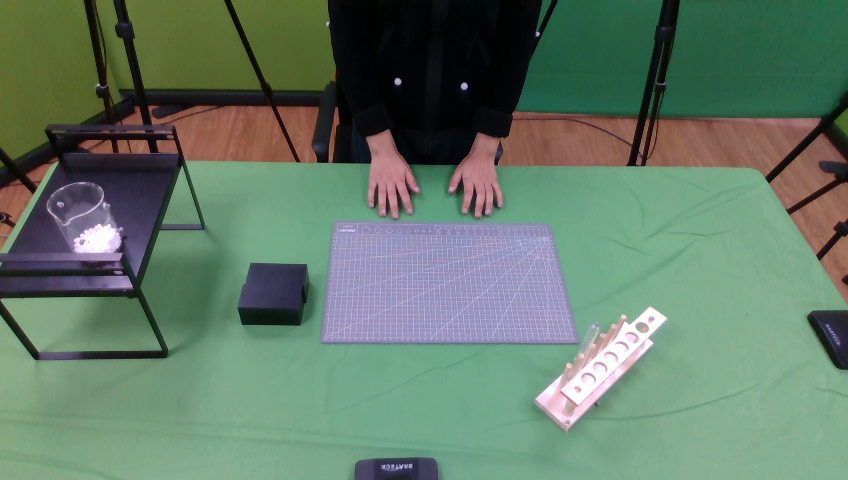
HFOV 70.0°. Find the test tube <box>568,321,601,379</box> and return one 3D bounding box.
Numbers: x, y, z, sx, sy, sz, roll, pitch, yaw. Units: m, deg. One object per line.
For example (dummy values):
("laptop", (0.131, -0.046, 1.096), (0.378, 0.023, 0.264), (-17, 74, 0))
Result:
("test tube", (0.247, 0.173, 0.938), (0.017, 0.151, 0.017), (2, 47, -2))

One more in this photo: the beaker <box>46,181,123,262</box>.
("beaker", (-0.488, -0.021, 0.877), (0.074, 0.101, 0.083), (3, 47, 0))

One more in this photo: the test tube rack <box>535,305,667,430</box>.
("test tube rack", (0.290, 0.193, 0.984), (0.242, 0.085, 0.066), (-32, 56, -30))
